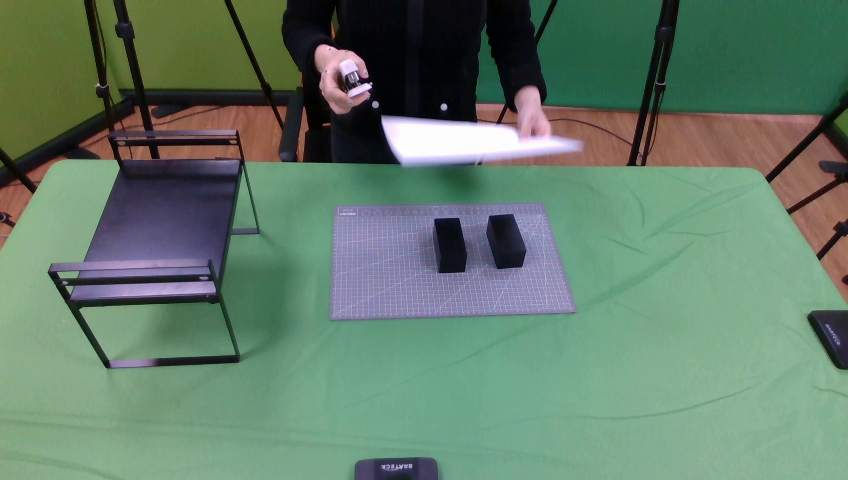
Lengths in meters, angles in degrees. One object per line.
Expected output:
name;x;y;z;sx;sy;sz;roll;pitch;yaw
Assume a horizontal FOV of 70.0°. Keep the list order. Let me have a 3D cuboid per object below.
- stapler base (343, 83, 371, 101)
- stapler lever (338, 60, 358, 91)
stapler base;-0.120;-0.261;1.043;0.041;0.024;0.130;-25;12;-7
stapler lever;-0.131;-0.282;1.039;0.027;0.040;0.117;-25;13;-7
